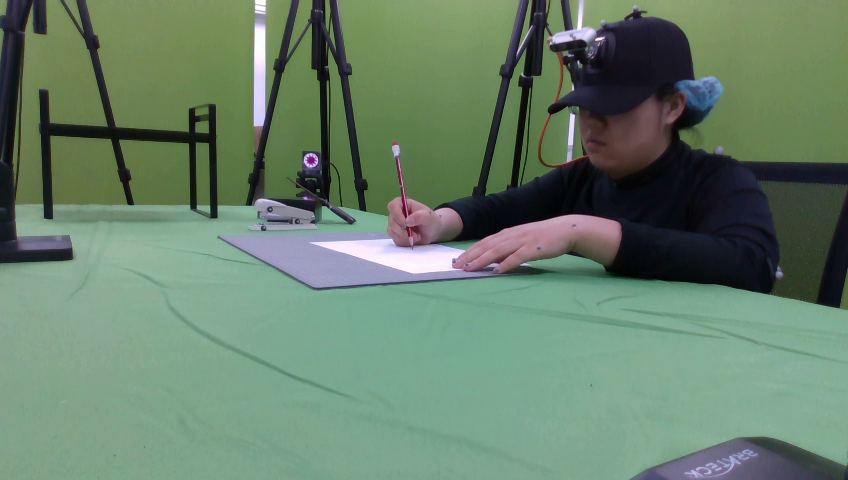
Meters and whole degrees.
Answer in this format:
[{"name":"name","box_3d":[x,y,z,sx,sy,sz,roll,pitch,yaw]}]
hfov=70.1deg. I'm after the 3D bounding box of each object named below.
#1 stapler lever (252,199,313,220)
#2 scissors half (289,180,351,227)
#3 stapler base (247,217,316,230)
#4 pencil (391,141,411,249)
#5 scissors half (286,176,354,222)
[{"name":"stapler lever","box_3d":[-0.273,-0.058,1.170,0.119,0.040,0.026,0,10,-37]},{"name":"scissors half","box_3d":[-0.232,-0.085,1.317,0.175,0.013,0.040,38,21,4]},{"name":"stapler base","box_3d":[-0.276,-0.033,1.172,0.131,0.024,0.041,0,10,-37]},{"name":"pencil","box_3d":[-0.037,-0.075,0.978,0.012,0.193,0.012,-8,-21,-3]},{"name":"scissors half","box_3d":[-0.229,-0.091,1.337,0.175,0.013,0.040,33,16,-13]}]
